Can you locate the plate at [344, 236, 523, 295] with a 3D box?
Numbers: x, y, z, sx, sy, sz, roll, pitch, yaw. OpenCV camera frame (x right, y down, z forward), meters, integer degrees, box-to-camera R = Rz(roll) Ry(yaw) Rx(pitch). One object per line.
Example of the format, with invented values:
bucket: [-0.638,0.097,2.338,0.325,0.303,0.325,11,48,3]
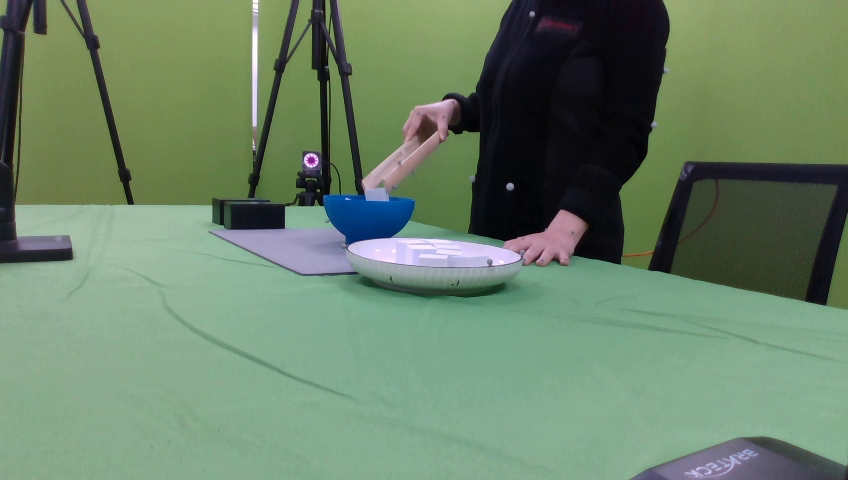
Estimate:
plate: [0.010,0.030,0.707,0.208,0.039,0.207,3,8,0]

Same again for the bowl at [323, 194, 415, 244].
bowl: [-0.090,-0.032,0.986,0.151,0.077,0.151,2,7,0]

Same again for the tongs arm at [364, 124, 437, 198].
tongs arm: [-0.038,-0.158,1.147,0.028,0.028,0.388,-18,18,24]

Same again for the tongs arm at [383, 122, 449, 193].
tongs arm: [-0.016,-0.163,1.138,0.050,0.026,0.385,-13,20,27]
